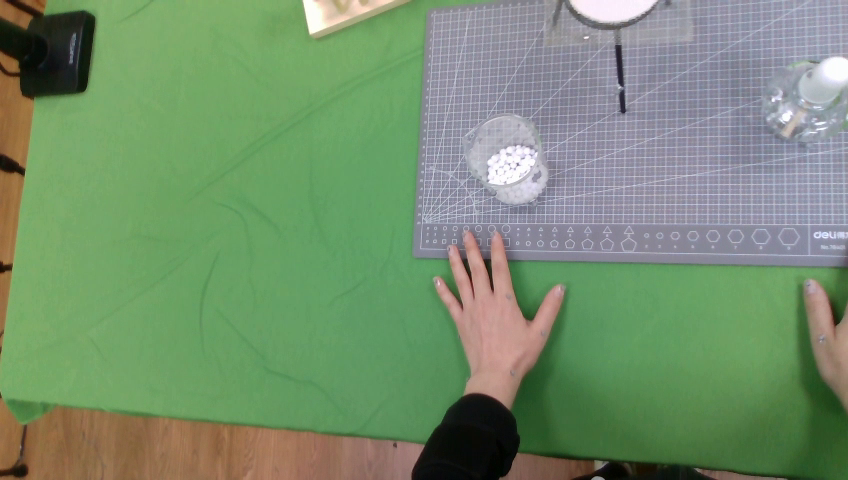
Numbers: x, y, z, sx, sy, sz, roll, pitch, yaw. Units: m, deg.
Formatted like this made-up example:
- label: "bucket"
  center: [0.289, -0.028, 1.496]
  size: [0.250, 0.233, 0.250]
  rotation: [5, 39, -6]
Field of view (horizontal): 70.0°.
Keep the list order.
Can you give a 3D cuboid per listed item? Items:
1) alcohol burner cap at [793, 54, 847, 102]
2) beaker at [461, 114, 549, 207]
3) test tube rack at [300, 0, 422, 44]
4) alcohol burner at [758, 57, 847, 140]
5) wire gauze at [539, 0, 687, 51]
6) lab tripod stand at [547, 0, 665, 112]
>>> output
- label: "alcohol burner cap"
  center: [0.338, -0.139, 0.511]
  size: [0.034, 0.048, 0.034]
  rotation: [-1, 84, 14]
- label: "beaker"
  center: [0.087, -0.078, 0.626]
  size: [0.083, 0.101, 0.074]
  rotation: [21, 88, 20]
- label: "test tube rack"
  center: [-0.050, -0.321, 0.713]
  size: [0.242, 0.086, 0.066]
  rotation: [-17, 77, 14]
- label: "alcohol burner"
  center: [0.348, -0.133, 0.545]
  size: [0.077, 0.120, 0.077]
  rotation: [-2, 81, 16]
- label: "wire gauze"
  center: [0.164, -0.227, 0.533]
  size: [0.124, 0.011, 0.121]
  rotation: [0, 84, 17]
- label: "lab tripod stand"
  center: [0.184, -0.217, 0.597]
  size: [0.148, 0.132, 0.148]
  rotation: [-2, 82, 15]
